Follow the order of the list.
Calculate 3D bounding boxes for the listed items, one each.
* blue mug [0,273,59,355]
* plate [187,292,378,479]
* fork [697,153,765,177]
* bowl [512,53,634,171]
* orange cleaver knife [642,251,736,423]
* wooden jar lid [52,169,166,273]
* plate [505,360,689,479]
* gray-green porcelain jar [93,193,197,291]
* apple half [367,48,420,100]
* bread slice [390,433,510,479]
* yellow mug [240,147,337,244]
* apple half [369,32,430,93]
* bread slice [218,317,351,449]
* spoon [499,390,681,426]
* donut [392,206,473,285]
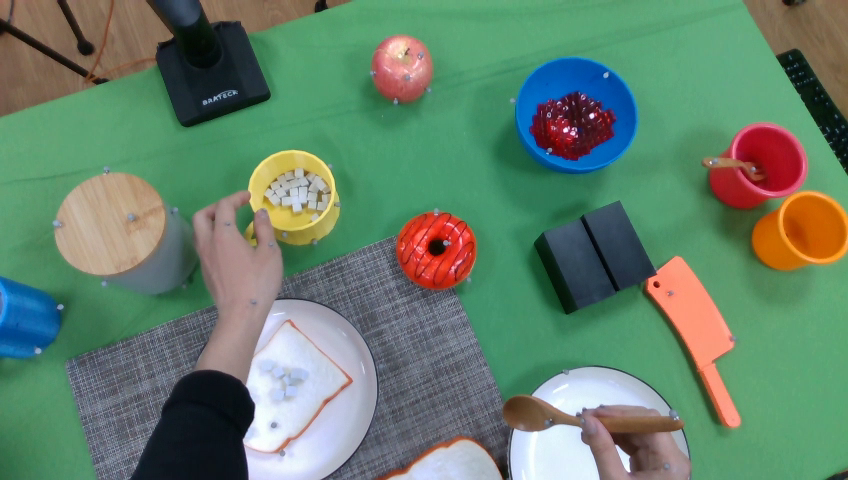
[{"bbox_3d":[-0.474,0.091,0.649,0.082,0.106,0.116,41,77,7],"label":"blue mug"},{"bbox_3d":[-0.156,0.163,0.684,0.208,0.039,0.206,1,76,-4],"label":"plate"},{"bbox_3d":[0.373,-0.094,0.732,0.208,0.018,0.028,-2,71,-47],"label":"fork"},{"bbox_3d":[0.179,-0.149,0.768,0.151,0.077,0.150,1,76,-3],"label":"bowl"},{"bbox_3d":[0.339,0.115,0.743,0.077,0.012,0.210,-20,77,-15],"label":"orange cleaver knife"},{"bbox_3d":[-0.316,-0.018,0.613,0.108,0.021,0.108,1,74,-2],"label":"wooden jar lid"},{"bbox_3d":[0.193,0.243,0.691,0.209,0.038,0.208,1,76,-3],"label":"plate"},{"bbox_3d":[-0.319,-0.002,0.673,0.106,0.127,0.105,1,75,-3],"label":"gray-green porcelain jar"},{"bbox_3d":[-0.045,-0.200,0.767,0.081,0.081,0.032,33,71,5],"label":"apple half"},{"bbox_3d":[0.032,0.272,0.645,0.134,0.018,0.106,-25,74,-30],"label":"bread slice"},{"bbox_3d":[-0.169,-0.043,0.725,0.099,0.064,0.130,43,78,8],"label":"yellow mug"},{"bbox_3d":[-0.025,-0.231,0.778,0.080,0.075,0.053,32,70,9],"label":"apple half"},{"bbox_3d":[-0.163,0.168,0.683,0.104,0.019,0.131,41,76,7],"label":"bread slice"},{"bbox_3d":[0.135,0.152,0.528,0.021,0.193,0.042,-30,98,-33],"label":"spoon"},{"bbox_3d":[0.011,0.006,0.731,0.099,0.048,0.098,1,76,-4],"label":"donut"}]
